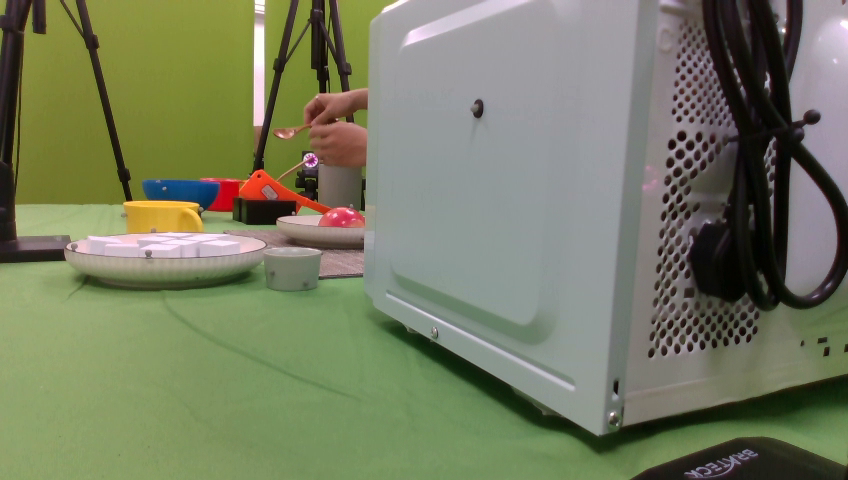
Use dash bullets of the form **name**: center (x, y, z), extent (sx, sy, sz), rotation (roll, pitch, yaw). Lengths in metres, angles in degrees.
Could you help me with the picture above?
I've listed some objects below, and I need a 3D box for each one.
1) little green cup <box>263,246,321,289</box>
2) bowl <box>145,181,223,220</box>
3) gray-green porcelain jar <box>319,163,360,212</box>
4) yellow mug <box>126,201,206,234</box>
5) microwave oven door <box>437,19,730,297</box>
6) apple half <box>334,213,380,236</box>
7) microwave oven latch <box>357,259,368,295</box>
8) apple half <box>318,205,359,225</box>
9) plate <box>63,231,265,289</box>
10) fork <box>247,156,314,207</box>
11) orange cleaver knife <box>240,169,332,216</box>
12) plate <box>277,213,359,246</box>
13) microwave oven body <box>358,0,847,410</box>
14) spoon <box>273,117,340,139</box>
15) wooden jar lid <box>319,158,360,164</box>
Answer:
- **little green cup**: center (-0.142, 0.029, 0.649), extent (0.061, 0.038, 0.061), rotation (3, 7, 0)
- **bowl**: center (-0.499, -0.081, 1.261), extent (0.151, 0.077, 0.151), rotation (2, 7, 0)
- **gray-green porcelain jar**: center (-0.204, -0.126, 1.490), extent (0.106, 0.126, 0.106), rotation (2, 8, 0)
- **yellow mug**: center (-0.360, -0.019, 0.866), extent (0.130, 0.064, 0.100), rotation (6, 9, 27)
- **microwave oven door**: center (0.181, -0.076, 0.618), extent (0.358, 0.243, 0.039), rotation (-2, 9, -28)
- **apple half**: center (-0.112, -0.029, 1.034), extent (0.081, 0.033, 0.081), rotation (0, 10, 0)
- **microwave oven latch**: center (-0.019, 0.031, 0.529), extent (0.079, 0.029, 0.030), rotation (-1, 7, -26)
- **apple half**: center (-0.126, -0.028, 0.954), extent (0.081, 0.053, 0.074), rotation (-2, 11, -33)
- **plate**: center (-0.288, 0.021, 0.687), extent (0.208, 0.039, 0.207), rotation (2, 8, 0)
- **fork**: center (-0.360, -0.147, 1.523), extent (0.207, 0.018, 0.028), rotation (-43, 15, -6)
- **orange cleaver knife**: center (-0.286, -0.082, 1.299), extent (0.212, 0.077, 0.012), rotation (25, -2, -31)
- **plate**: center (-0.135, -0.018, 0.994), extent (0.209, 0.038, 0.209), rotation (2, 7, 0)
- **microwave oven body**: center (0.210, -0.051, 0.471), extent (0.444, 0.260, 0.324), rotation (-1, 7, -28)
- **spoon**: center (-0.283, -0.280, 1.483), extent (0.194, 0.021, 0.041), rotation (-26, 59, -36)
- **wooden jar lid**: center (-0.202, -0.189, 1.481), extent (0.108, 0.020, 0.108), rotation (2, 10, 0)
